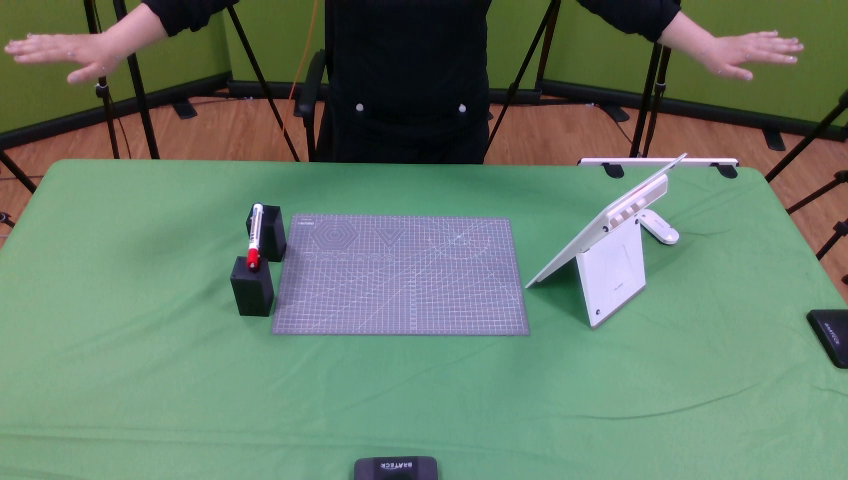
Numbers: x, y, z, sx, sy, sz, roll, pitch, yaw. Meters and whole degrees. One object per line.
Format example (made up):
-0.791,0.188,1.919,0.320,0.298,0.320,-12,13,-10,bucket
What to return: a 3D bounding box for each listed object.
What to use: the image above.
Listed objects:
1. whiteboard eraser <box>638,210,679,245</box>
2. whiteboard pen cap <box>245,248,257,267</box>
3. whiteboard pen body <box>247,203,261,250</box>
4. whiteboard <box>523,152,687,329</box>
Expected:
0.485,-0.027,1.260,0.041,0.019,0.100,-21,50,-21,whiteboard eraser
-0.288,0.028,1.010,0.017,0.017,0.032,-2,45,-6,whiteboard pen cap
-0.295,-0.014,1.052,0.017,0.017,0.139,-2,45,-6,whiteboard pen body
0.346,0.025,1.046,0.217,0.306,0.143,-30,74,-29,whiteboard
